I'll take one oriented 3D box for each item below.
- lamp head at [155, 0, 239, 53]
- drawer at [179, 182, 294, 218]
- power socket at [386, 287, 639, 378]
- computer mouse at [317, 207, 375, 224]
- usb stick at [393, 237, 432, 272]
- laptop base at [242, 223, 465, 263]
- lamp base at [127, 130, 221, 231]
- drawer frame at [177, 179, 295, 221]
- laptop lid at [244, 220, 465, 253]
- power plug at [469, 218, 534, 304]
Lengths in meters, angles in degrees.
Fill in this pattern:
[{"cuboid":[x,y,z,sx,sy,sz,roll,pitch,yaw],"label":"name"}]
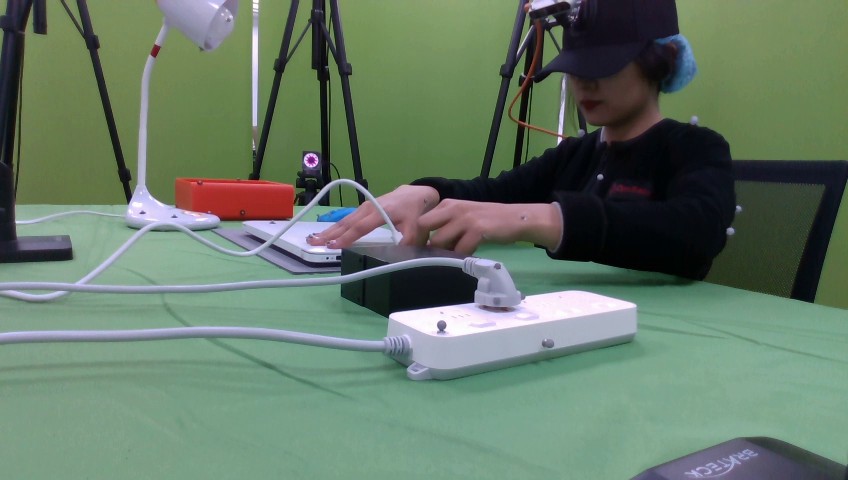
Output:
[{"cuboid":[-0.406,-0.402,1.059,0.123,0.112,0.112,25,5,-6],"label":"lamp head"},{"cuboid":[-0.420,-0.091,1.354,0.213,0.073,0.193,-3,10,-31],"label":"drawer"},{"cuboid":[0.074,0.064,0.461,0.228,0.032,0.072,-4,8,-34],"label":"power socket"},{"cuboid":[-0.163,-0.048,1.264,0.118,0.041,0.062,-6,12,-28],"label":"computer mouse"},{"cuboid":[-0.018,0.021,0.736,0.021,0.027,0.059,-33,-3,-45],"label":"usb stick"},{"cuboid":[-0.126,0.003,0.946,0.237,0.023,0.352,2,6,-31],"label":"laptop base"},{"cuboid":[-0.469,-0.112,1.108,0.179,0.180,0.160,0,7,3],"label":"lamp base"},{"cuboid":[-0.422,-0.092,1.352,0.215,0.082,0.200,-3,10,-32],"label":"drawer frame"},{"cuboid":[-0.124,-0.009,0.945,0.243,0.013,0.355,1,7,-29],"label":"laptop lid"},{"cuboid":[0.054,0.013,0.454,0.035,0.072,0.052,-23,-3,-40],"label":"power plug"}]
